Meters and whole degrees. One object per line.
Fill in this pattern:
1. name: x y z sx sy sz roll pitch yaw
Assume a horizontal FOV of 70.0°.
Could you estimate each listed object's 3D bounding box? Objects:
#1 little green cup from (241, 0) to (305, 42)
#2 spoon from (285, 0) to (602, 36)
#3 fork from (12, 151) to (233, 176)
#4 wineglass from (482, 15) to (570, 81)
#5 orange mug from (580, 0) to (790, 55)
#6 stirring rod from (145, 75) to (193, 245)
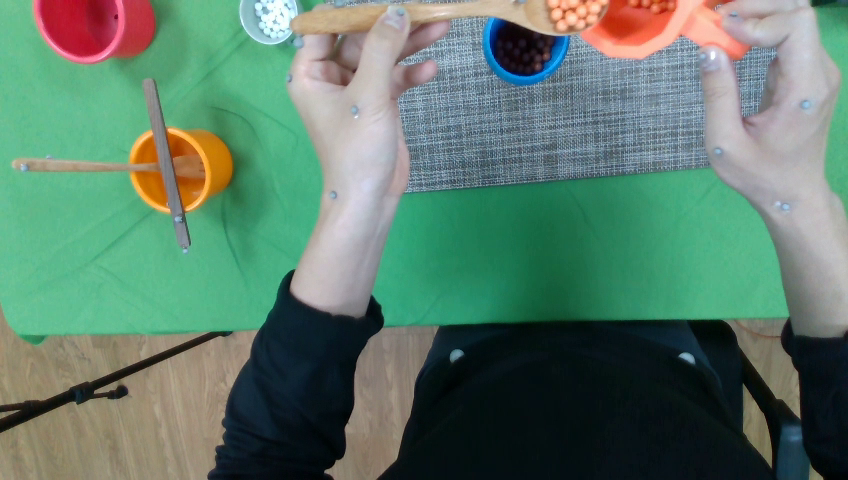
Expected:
1. little green cup: -0.154 -0.237 0.630 0.061 0.038 0.062 2 107 7
2. spoon: 0.015 -0.139 0.363 0.194 0.021 0.042 -10 119 -13
3. fork: -0.307 -0.081 0.637 0.208 0.018 0.028 -5 118 -37
4. wineglass: 0.089 -0.179 0.542 0.073 0.171 0.074 2 105 7
5. orange mug: 0.167 -0.168 0.390 0.125 0.101 0.084 44 147 18
6. stirring rod: -0.265 -0.080 0.630 0.014 0.006 0.177 -4 105 9
